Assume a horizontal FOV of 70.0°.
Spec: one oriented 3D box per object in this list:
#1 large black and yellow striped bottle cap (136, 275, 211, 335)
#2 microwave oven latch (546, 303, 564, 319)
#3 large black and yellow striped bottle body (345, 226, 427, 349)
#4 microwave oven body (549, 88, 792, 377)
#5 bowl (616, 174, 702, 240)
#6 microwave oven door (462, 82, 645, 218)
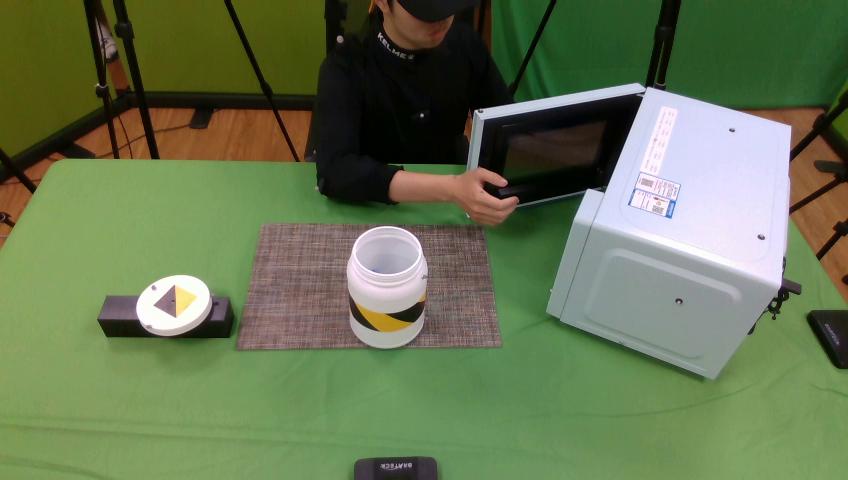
[{"bbox_3d":[-0.412,0.105,0.999,0.115,0.019,0.114,3,47,-3],"label":"large black and yellow striped bottle cap"},{"bbox_3d":[0.242,0.102,1.081,0.030,0.029,0.079,21,48,17],"label":"microwave oven latch"},{"bbox_3d":[-0.062,0.078,0.998,0.131,0.185,0.130,2,46,-2],"label":"large black and yellow striped bottle body"},{"bbox_3d":[0.456,-0.028,1.088,0.325,0.261,0.440,20,47,16],"label":"microwave oven body"},{"bbox_3d":[0.435,-0.053,1.142,0.151,0.077,0.150,-3,37,3],"label":"bowl"},{"bbox_3d":[0.255,-0.179,1.211,0.356,0.245,0.039,-13,48,-16],"label":"microwave oven door"}]
